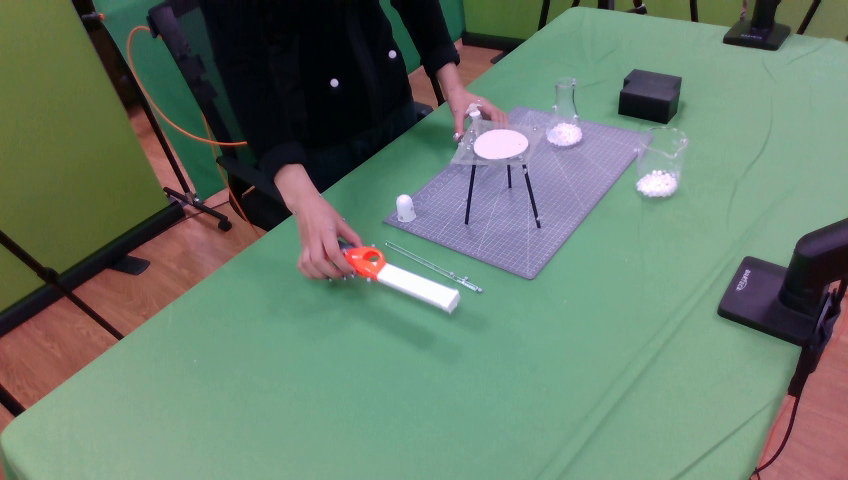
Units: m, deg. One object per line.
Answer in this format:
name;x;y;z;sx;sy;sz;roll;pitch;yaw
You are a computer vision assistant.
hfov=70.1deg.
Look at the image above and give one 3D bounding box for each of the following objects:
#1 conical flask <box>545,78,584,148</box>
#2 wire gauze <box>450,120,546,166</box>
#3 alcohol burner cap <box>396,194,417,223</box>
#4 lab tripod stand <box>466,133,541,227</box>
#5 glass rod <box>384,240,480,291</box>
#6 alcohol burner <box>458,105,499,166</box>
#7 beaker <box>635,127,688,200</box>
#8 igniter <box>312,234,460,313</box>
conical flask;0.264;-0.241;1.135;0.075;0.122;0.075;-6;40;5
wire gauze;0.117;-0.151;0.943;0.121;0.011;0.125;9;43;21
alcohol burner cap;-0.032;-0.056;1.036;0.034;0.048;0.033;-6;41;6
lab tripod stand;0.129;-0.099;0.985;0.148;0.132;0.147;-7;39;6
glass rod;0.008;0.037;0.949;0.198;0.008;0.008;26;52;34
alcohol burner;0.099;-0.199;1.125;0.078;0.120;0.077;-6;42;6
beaker;0.388;-0.122;0.994;0.074;0.101;0.083;-8;40;2
igniter;-0.067;0.044;0.885;0.274;0.025;0.057;20;57;33
